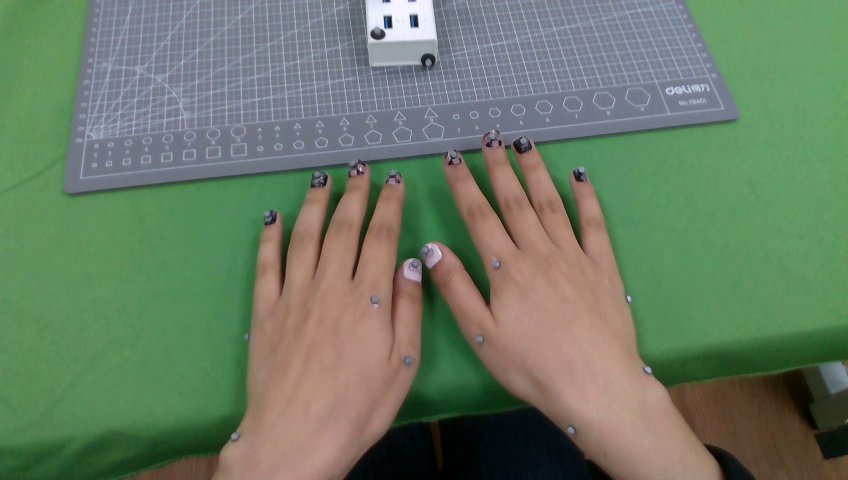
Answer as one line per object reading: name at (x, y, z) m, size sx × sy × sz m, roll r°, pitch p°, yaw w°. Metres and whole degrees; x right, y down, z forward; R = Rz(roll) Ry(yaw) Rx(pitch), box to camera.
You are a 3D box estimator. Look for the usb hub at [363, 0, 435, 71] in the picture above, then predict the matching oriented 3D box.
usb hub at (-0.022, -0.181, 0.451) m, size 0.049 × 0.025 × 0.124 m, roll -4°, pitch 63°, yaw -3°
